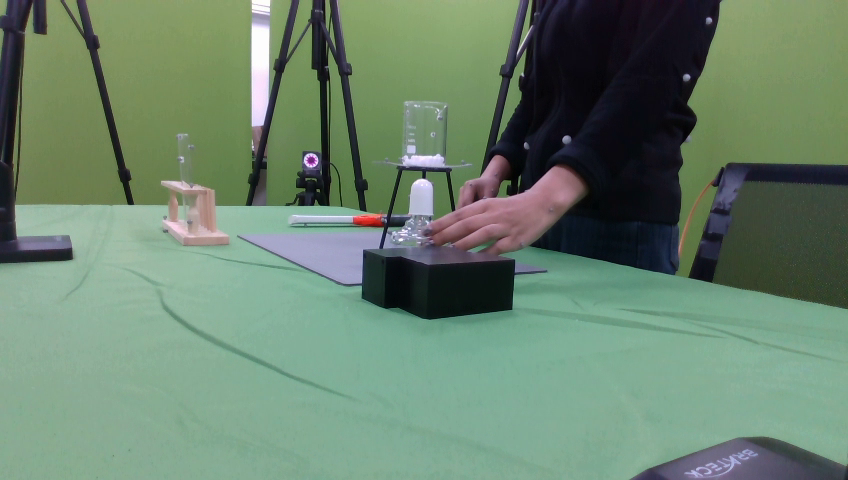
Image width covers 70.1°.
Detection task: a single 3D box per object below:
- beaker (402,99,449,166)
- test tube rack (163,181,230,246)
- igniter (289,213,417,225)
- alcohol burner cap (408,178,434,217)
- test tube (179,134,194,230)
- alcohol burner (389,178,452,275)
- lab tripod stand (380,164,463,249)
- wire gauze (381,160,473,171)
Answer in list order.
[{"bbox_3d":[0.003,-0.168,0.957,0.073,0.100,0.084,8,11,35],"label":"beaker"},{"bbox_3d":[-0.387,-0.050,1.015,0.067,0.085,0.241,-2,9,-30],"label":"test tube rack"},{"bbox_3d":[-0.144,-0.044,1.275,0.278,0.025,0.057,-1,-1,-27],"label":"igniter"},{"bbox_3d":[-0.003,-0.053,0.746,0.034,0.048,0.034,3,2,0],"label":"alcohol burner cap"},{"bbox_3d":[-0.366,-0.089,0.938,0.017,0.150,0.017,-1,9,1],"label":"test tube"},{"bbox_3d":[-0.004,-0.017,0.749,0.078,0.119,0.078,1,9,0],"label":"alcohol burner"},{"bbox_3d":[-0.003,-0.055,0.967,0.148,0.131,0.148,3,9,0],"label":"lab tripod stand"},{"bbox_3d":[-0.004,-0.120,0.959,0.122,0.011,0.124,-5,13,-33],"label":"wire gauze"}]
